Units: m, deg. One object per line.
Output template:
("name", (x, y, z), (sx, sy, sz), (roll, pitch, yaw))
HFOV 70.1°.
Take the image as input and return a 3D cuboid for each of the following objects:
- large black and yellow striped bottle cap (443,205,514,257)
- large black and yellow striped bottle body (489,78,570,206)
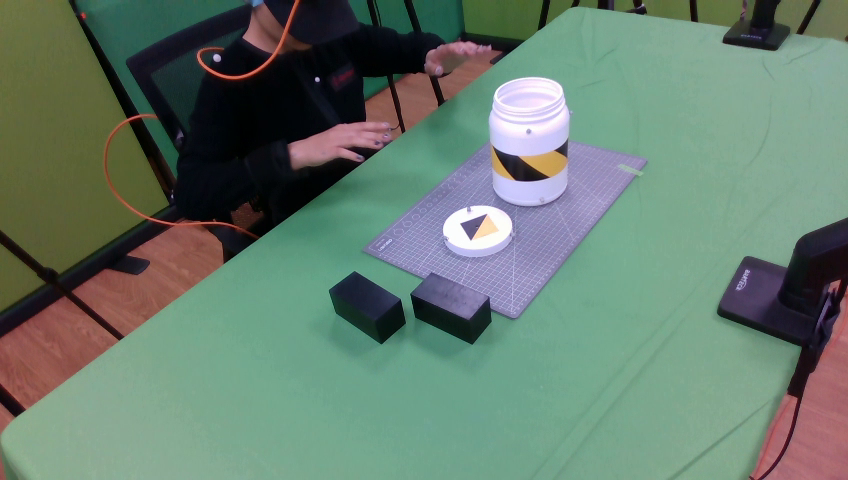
("large black and yellow striped bottle cap", (0.088, -0.016, 0.986), (0.115, 0.019, 0.114), (-4, 41, 4))
("large black and yellow striped bottle body", (0.177, -0.164, 1.012), (0.131, 0.185, 0.130), (-5, 40, 5))
